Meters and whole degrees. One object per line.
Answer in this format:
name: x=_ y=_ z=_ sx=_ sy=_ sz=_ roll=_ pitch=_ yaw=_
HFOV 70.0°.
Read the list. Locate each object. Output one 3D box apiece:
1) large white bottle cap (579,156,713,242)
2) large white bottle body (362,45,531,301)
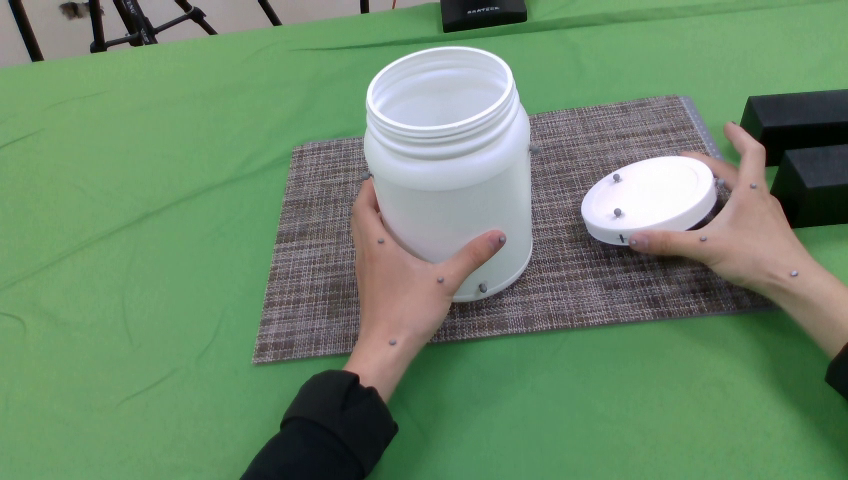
large white bottle cap: x=0.198 y=-0.039 z=0.547 sx=0.115 sy=0.018 sz=0.114 roll=-21 pitch=28 yaw=12
large white bottle body: x=0.022 y=-0.052 z=0.504 sx=0.130 sy=0.186 sz=0.129 roll=-5 pitch=46 yaw=6
